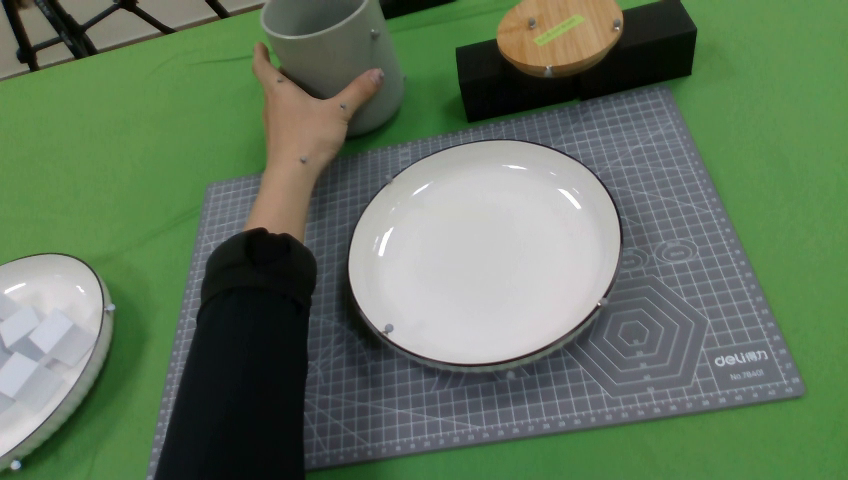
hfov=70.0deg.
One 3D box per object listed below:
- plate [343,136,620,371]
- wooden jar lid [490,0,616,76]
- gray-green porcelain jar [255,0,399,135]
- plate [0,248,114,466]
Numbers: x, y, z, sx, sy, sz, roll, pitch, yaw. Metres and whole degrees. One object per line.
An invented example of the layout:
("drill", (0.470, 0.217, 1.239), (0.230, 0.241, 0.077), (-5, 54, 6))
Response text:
("plate", (0.042, 0.007, 0.465), (0.209, 0.038, 0.207), (-8, 53, 11))
("wooden jar lid", (0.113, -0.183, 0.534), (0.108, 0.021, 0.107), (-7, 55, 10))
("gray-green porcelain jar", (-0.085, -0.174, 0.579), (0.105, 0.128, 0.105), (-8, 53, 11))
("plate", (-0.356, 0.102, 0.513), (0.207, 0.039, 0.205), (-8, 53, 11))
